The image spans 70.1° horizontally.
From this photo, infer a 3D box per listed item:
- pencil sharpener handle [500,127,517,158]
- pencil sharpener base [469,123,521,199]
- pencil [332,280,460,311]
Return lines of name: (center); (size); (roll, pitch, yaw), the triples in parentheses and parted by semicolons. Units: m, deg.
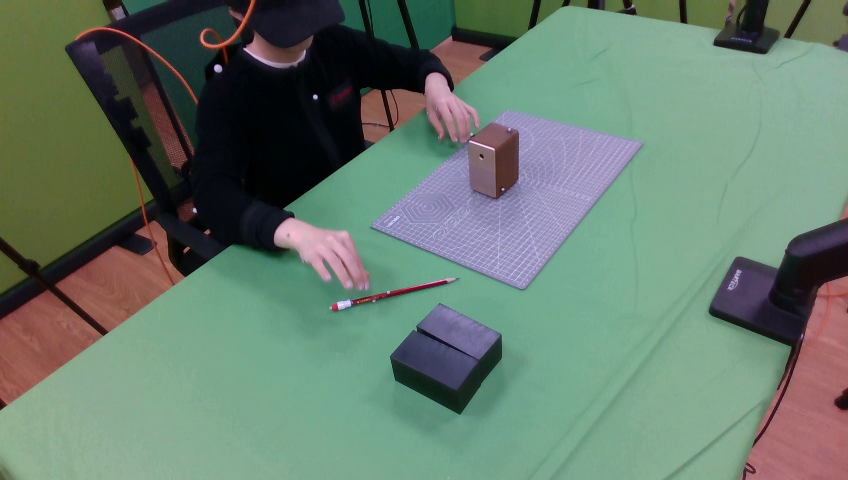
pencil sharpener handle: (0.155, -0.177, 1.071); (0.036, 0.068, 0.031); (32, 53, 24)
pencil sharpener base: (0.126, -0.138, 1.050); (0.061, 0.107, 0.077); (24, 50, 33)
pencil: (-0.040, 0.080, 0.900); (0.194, 0.012, 0.012); (-12, 40, -7)
